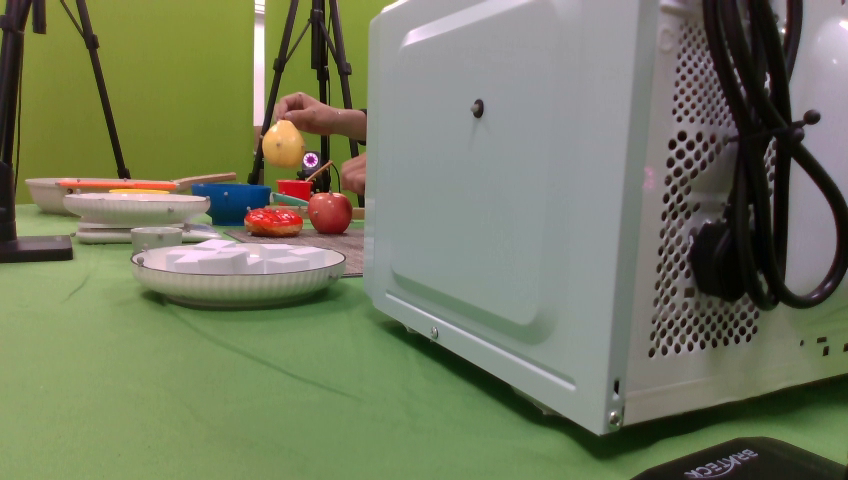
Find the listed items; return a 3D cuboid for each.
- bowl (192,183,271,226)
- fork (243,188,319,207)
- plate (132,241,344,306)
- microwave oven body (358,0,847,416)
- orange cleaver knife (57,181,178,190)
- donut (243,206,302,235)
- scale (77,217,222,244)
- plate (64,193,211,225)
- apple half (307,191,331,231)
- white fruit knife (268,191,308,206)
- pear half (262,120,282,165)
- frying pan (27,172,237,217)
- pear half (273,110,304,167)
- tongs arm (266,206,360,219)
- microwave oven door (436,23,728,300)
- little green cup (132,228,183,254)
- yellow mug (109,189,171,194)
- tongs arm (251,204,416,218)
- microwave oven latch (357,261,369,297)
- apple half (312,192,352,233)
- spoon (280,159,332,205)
[{"bbox_3d":[-0.382,-0.071,1.202,0.151,0.077,0.151,3,7,0],"label":"bowl"},{"bbox_3d":[-0.356,-0.105,1.526,0.208,0.018,0.028,16,-5,-41],"label":"fork"},{"bbox_3d":[-0.187,0.033,0.625,0.208,0.039,0.207,2,7,0],"label":"plate"},{"bbox_3d":[0.211,-0.047,0.474,0.444,0.260,0.324,-1,7,-28],"label":"microwave oven body"},{"bbox_3d":[-0.600,-0.109,1.189,0.212,0.012,0.077,-1,11,-26],"label":"orange cleaver knife"},{"bbox_3d":[-0.261,-0.032,1.043,0.099,0.048,0.099,4,9,0],"label":"donut"},{"bbox_3d":[-0.434,-0.018,0.963,0.202,0.031,0.148,-1,8,-27],"label":"scale"},{"bbox_3d":[-0.446,-0.050,0.952,0.209,0.038,0.209,2,7,0],"label":"plate"},{"bbox_3d":[-0.196,-0.055,1.114,0.032,0.081,0.081,9,10,22],"label":"apple half"},{"bbox_3d":[-0.364,-0.105,1.464,0.208,0.027,0.016,15,0,-34],"label":"white fruit knife"},{"bbox_3d":[-0.290,-0.188,1.149,0.031,0.088,0.070,5,2,-33],"label":"pear half"},{"bbox_3d":[-0.624,-0.118,1.387,0.305,0.102,0.490,8,17,32],"label":"frying pan"},{"bbox_3d":[-0.258,-0.195,1.166,0.056,0.109,0.076,5,3,-32],"label":"pear half"},{"bbox_3d":[-0.173,-0.061,1.362,0.387,0.026,0.050,-1,3,-31],"label":"tongs arm"},{"bbox_3d":[0.180,-0.073,0.621,0.358,0.243,0.039,-2,9,-29],"label":"microwave oven door"},{"bbox_3d":[-0.342,0.006,0.779,0.061,0.038,0.061,2,8,0],"label":"little green cup"},{"bbox_3d":[-0.519,-0.055,1.080,0.099,0.064,0.131,7,10,26],"label":"yellow mug"},{"bbox_3d":[-0.210,-0.068,1.439,0.389,0.027,0.028,0,-1,-16],"label":"tongs arm"},{"bbox_3d":[-0.019,0.033,0.530,0.079,0.029,0.030,-1,7,-26],"label":"microwave oven latch"},{"bbox_3d":[-0.160,-0.050,1.101,0.053,0.074,0.081,9,6,23],"label":"apple half"},{"bbox_3d":[-0.316,-0.159,1.640,0.194,0.022,0.041,-50,32,-20],"label":"spoon"}]
